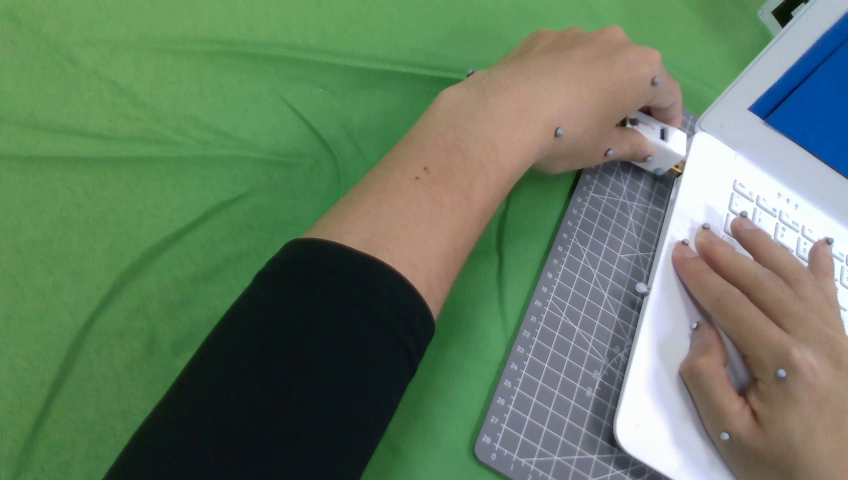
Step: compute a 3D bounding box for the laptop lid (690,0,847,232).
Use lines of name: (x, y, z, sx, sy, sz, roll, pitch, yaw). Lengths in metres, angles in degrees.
laptop lid: (0.384, -0.061, 0.373, 0.357, 0.242, 0.013, 30, 37, -6)

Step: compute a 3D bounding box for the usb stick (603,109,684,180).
usb stick: (0.145, -0.057, 0.385, 0.059, 0.027, 0.021, 24, 53, -17)

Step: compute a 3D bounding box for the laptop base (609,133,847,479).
laptop base: (0.283, 0.104, 0.383, 0.355, 0.023, 0.234, 31, 61, -7)
